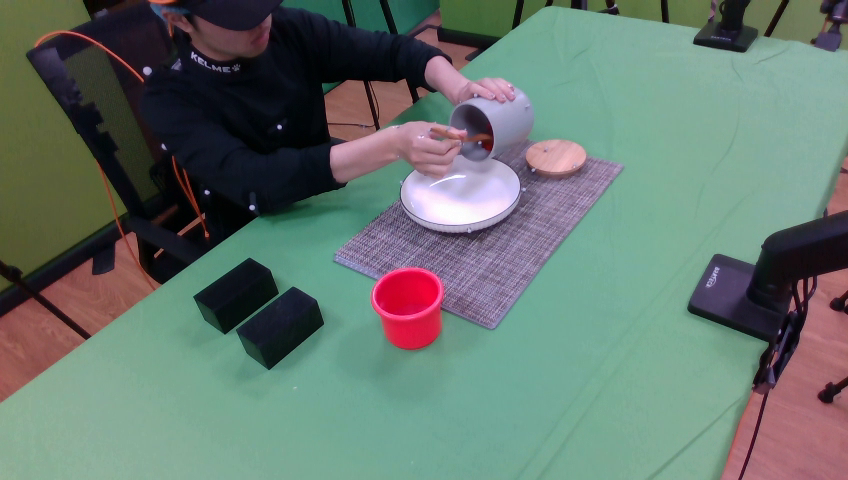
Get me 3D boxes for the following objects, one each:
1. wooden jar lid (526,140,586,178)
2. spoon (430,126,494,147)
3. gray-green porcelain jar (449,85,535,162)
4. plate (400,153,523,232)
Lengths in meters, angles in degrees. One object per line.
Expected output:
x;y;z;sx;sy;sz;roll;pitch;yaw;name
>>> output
0.240;-0.147;1.103;0.108;0.021;0.108;-4;42;4;wooden jar lid
0.069;-0.169;0.997;0.041;0.021;0.195;9;9;34;spoon
0.123;-0.206;1.054;0.105;0.106;0.127;27;44;34;gray-green porcelain jar
0.065;-0.078;1.034;0.207;0.039;0.206;-4;41;4;plate
